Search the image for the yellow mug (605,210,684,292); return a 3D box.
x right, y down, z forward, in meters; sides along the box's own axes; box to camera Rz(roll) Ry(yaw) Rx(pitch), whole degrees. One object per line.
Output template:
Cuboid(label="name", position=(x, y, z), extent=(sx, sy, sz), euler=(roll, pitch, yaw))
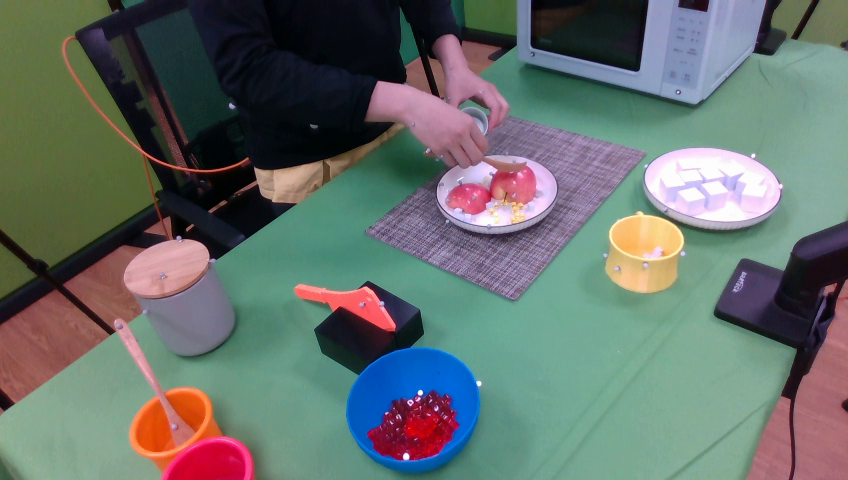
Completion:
Cuboid(label="yellow mug", position=(0.318, 0.007, 0.883), extent=(0.100, 0.064, 0.130), euler=(0, 41, 8))

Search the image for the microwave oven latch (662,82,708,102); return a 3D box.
Cuboid(label="microwave oven latch", position=(0.518, -0.298, 1.202), extent=(0.078, 0.029, 0.030), euler=(28, 53, 35))

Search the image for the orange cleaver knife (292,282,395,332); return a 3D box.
Cuboid(label="orange cleaver knife", position=(-0.116, 0.091, 0.835), extent=(0.209, 0.077, 0.012), euler=(2, 32, 48))

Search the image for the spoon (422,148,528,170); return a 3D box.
Cuboid(label="spoon", position=(0.081, -0.129, 0.940), extent=(0.195, 0.021, 0.041), euler=(7, -4, -30))

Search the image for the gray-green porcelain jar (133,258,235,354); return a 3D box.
Cuboid(label="gray-green porcelain jar", position=(-0.327, 0.086, 0.836), extent=(0.106, 0.127, 0.105), euler=(-4, 41, 4))

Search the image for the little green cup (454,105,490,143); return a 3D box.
Cuboid(label="little green cup", position=(0.082, -0.199, 1.054), extent=(0.061, 0.038, 0.061), euler=(0, 81, -1))

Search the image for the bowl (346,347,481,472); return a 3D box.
Cuboid(label="bowl", position=(-0.008, 0.205, 0.691), extent=(0.151, 0.077, 0.150), euler=(-4, 40, 4))

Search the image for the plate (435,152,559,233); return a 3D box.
Cuboid(label="plate", position=(0.124, -0.078, 1.026), extent=(0.209, 0.038, 0.208), euler=(-4, 40, 4))

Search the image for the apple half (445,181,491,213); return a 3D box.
Cuboid(label="apple half", position=(0.076, -0.083, 1.029), extent=(0.081, 0.033, 0.081), euler=(-2, 42, 2))

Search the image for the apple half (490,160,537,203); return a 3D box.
Cuboid(label="apple half", position=(0.154, -0.106, 1.030), extent=(0.080, 0.053, 0.075), euler=(22, 46, 31))

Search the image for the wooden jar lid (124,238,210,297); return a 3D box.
Cuboid(label="wooden jar lid", position=(-0.335, 0.039, 0.794), extent=(0.108, 0.021, 0.108), euler=(-2, 40, 2))

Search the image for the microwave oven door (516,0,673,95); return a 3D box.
Cuboid(label="microwave oven door", position=(0.344, -0.458, 1.256), extent=(0.353, 0.245, 0.039), euler=(26, 51, 33))

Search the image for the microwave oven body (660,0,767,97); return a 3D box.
Cuboid(label="microwave oven body", position=(0.474, -0.516, 1.313), extent=(0.438, 0.261, 0.327), euler=(26, 51, 34))

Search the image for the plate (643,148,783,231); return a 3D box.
Cuboid(label="plate", position=(0.464, -0.080, 0.986), extent=(0.207, 0.039, 0.206), euler=(-4, 41, 4))

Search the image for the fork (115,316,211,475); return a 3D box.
Cuboid(label="fork", position=(-0.308, 0.179, 0.708), extent=(0.028, 0.018, 0.207), euler=(-30, 89, -21))
